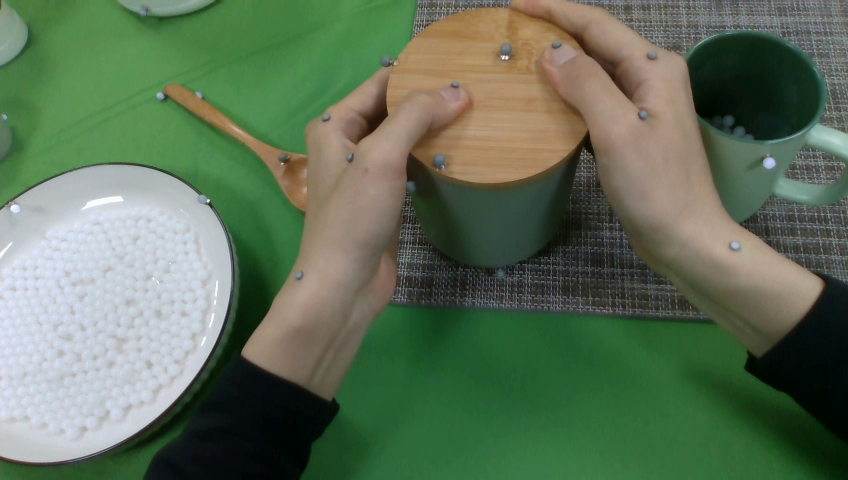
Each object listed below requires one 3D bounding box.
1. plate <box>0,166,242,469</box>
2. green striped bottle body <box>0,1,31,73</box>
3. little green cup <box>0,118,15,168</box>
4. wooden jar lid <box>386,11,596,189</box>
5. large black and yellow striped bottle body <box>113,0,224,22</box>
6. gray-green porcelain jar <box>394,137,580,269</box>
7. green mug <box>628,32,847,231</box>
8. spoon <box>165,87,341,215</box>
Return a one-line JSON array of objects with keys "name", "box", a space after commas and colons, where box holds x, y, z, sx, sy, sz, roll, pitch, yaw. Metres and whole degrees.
[{"name": "plate", "box": [-0.222, 0.048, 0.413, 0.209, 0.038, 0.207, -2, 66, 5]}, {"name": "green striped bottle body", "box": [-0.387, -0.195, 0.489, 0.063, 0.120, 0.062, -2, 66, 6]}, {"name": "little green cup", "box": [-0.363, -0.081, 0.481, 0.061, 0.039, 0.061, -2, 65, 5]}, {"name": "wooden jar lid", "box": [0.035, -0.072, 0.319, 0.108, 0.021, 0.107, -2, 68, 5]}, {"name": "large black and yellow striped bottle body", "box": [-0.233, -0.283, 0.476, 0.130, 0.185, 0.130, -2, 66, 5]}, {"name": "gray-green porcelain jar", "box": [0.040, -0.048, 0.374, 0.106, 0.127, 0.105, -2, 64, 5]}, {"name": "green mug", "box": [0.198, -0.057, 0.376, 0.125, 0.106, 0.092, 24, 70, 15]}, {"name": "spoon", "box": [-0.136, -0.076, 0.466, 0.192, 0.022, 0.041, 34, 90, 18]}]
